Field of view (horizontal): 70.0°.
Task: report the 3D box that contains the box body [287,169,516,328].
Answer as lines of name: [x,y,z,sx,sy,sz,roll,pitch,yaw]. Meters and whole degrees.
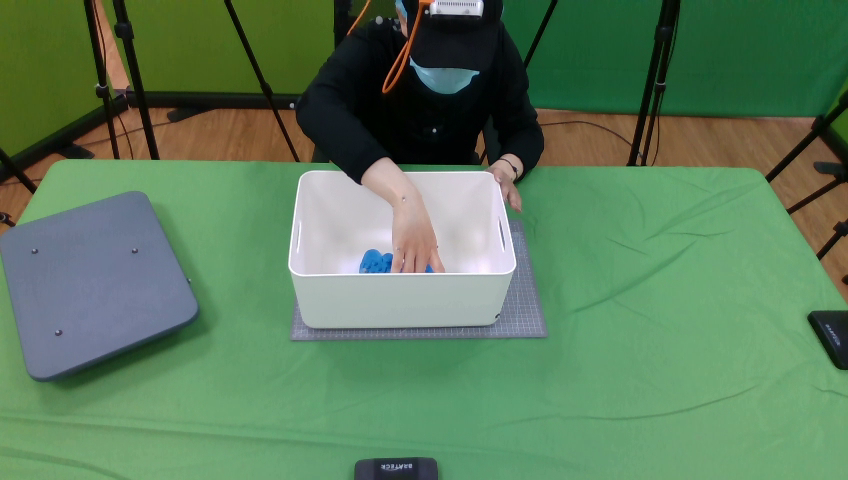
box body: [-0.040,0.015,1.075,0.364,0.161,0.252,-1,47,-4]

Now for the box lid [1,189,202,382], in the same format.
box lid: [-0.565,0.059,1.050,0.263,0.015,0.369,-23,52,-23]

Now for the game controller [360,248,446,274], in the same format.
game controller: [-0.043,0.056,1.108,0.155,0.052,0.096,11,52,8]
